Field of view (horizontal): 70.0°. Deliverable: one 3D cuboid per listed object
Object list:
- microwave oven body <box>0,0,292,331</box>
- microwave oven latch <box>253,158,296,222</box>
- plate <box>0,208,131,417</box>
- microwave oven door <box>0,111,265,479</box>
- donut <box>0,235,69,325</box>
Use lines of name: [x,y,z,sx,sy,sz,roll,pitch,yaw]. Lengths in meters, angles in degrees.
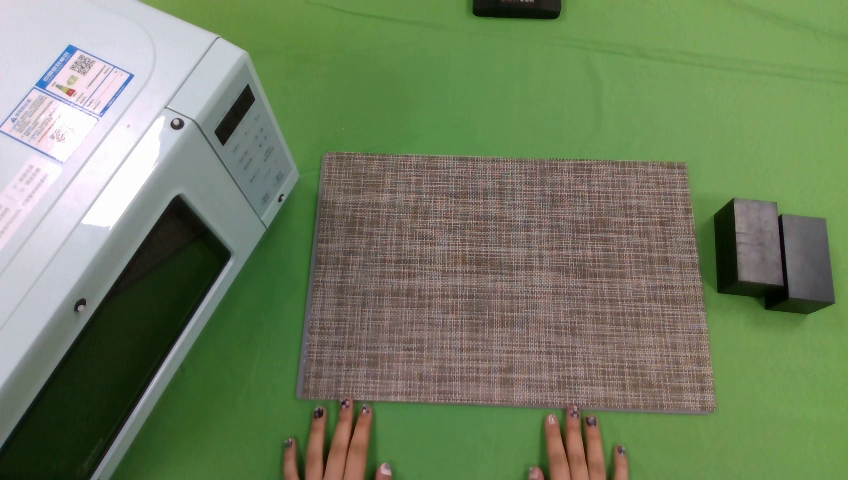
microwave oven body: [-0.389,-0.009,0.578,0.325,0.261,0.440,25,73,7]
microwave oven latch: [-0.178,-0.062,0.704,0.030,0.029,0.079,25,73,7]
plate: [-0.384,0.069,0.596,0.209,0.038,0.207,-2,68,6]
microwave oven door: [-0.276,0.087,0.541,0.039,0.245,0.354,25,72,9]
donut: [-0.411,0.039,0.610,0.099,0.048,0.098,2,55,-2]
